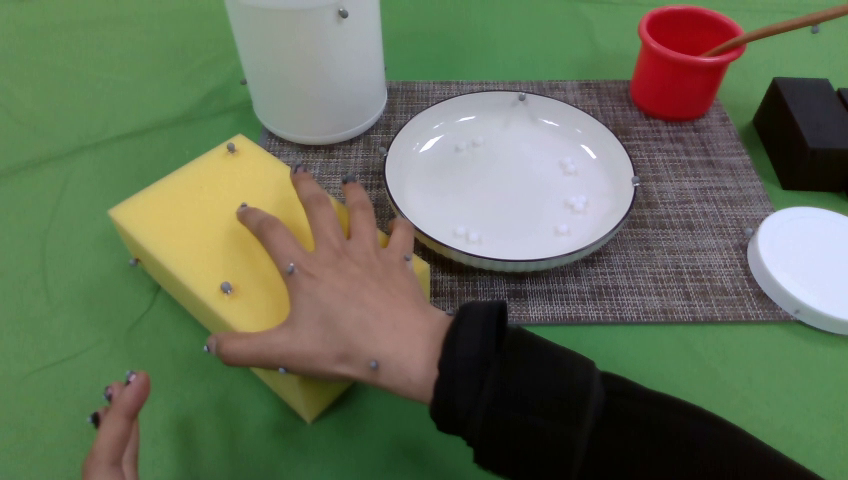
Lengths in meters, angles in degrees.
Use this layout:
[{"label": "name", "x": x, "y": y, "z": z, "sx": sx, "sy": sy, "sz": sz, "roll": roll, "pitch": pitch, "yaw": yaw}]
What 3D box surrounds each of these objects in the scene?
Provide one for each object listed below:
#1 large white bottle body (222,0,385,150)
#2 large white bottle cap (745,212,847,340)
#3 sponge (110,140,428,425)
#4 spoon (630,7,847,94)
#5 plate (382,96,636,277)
[{"label": "large white bottle body", "x": -0.104, "y": -0.188, "z": 0.538, "sx": 0.130, "sy": 0.186, "sz": 0.129, "roll": 0, "pitch": 49, "yaw": 1}, {"label": "large white bottle cap", "x": 0.311, "y": 0.025, "z": 0.468, "sx": 0.115, "sy": 0.018, "sz": 0.113, "roll": 2, "pitch": 50, "yaw": -2}, {"label": "sponge", "x": -0.112, "y": 0.020, "z": 0.442, "sx": 0.205, "sy": 0.061, "sz": 0.118, "roll": 33, "pitch": 57, "yaw": 25}, {"label": "spoon", "x": 0.276, "y": -0.169, "z": 0.550, "sx": 0.022, "sy": 0.193, "sz": 0.041, "roll": 53, "pitch": 55, "yaw": -17}, {"label": "plate", "x": 0.069, "y": -0.046, "z": 0.514, "sx": 0.209, "sy": 0.038, "sz": 0.207, "roll": 0, "pitch": 49, "yaw": 0}]
